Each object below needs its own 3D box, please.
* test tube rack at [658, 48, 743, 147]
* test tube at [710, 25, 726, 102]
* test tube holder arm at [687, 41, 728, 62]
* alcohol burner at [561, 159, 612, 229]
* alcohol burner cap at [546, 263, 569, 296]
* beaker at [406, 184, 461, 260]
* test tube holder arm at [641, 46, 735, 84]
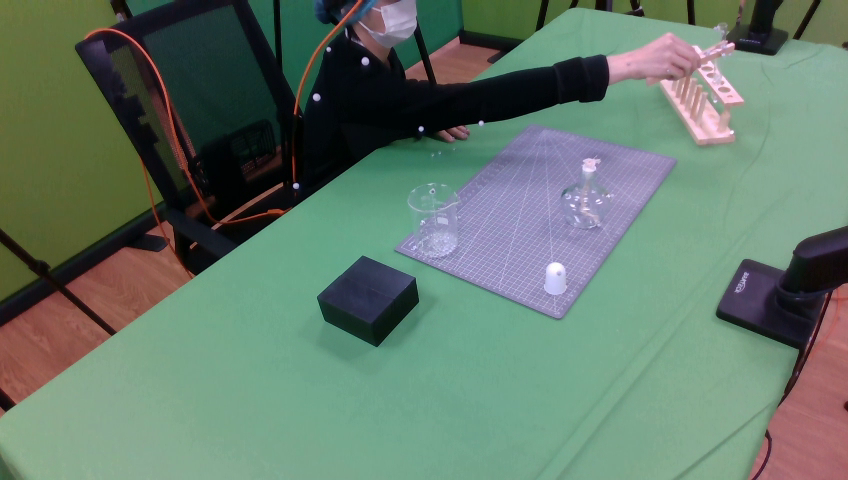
[{"bbox_3d":[0.532,-0.284,1.181,0.067,0.085,0.241,-5,40,4],"label":"test tube rack"},{"bbox_3d":[0.531,-0.315,1.093,0.017,0.151,0.017,-10,42,10],"label":"test tube"},{"bbox_3d":[0.502,-0.329,1.072,0.088,0.015,0.010,-29,53,-14],"label":"test tube holder arm"},{"bbox_3d":[0.257,-0.077,0.951,0.078,0.119,0.077,-3,40,3],"label":"alcohol burner"},{"bbox_3d":[0.191,0.053,0.862,0.034,0.048,0.033,-5,40,4],"label":"alcohol burner cap"},{"bbox_3d":[0.019,-0.026,0.939,0.084,0.101,0.074,1,41,9],"label":"beaker"},{"bbox_3d":[0.464,-0.308,1.062,0.179,0.015,0.013,-20,51,-7],"label":"test tube holder arm"}]
